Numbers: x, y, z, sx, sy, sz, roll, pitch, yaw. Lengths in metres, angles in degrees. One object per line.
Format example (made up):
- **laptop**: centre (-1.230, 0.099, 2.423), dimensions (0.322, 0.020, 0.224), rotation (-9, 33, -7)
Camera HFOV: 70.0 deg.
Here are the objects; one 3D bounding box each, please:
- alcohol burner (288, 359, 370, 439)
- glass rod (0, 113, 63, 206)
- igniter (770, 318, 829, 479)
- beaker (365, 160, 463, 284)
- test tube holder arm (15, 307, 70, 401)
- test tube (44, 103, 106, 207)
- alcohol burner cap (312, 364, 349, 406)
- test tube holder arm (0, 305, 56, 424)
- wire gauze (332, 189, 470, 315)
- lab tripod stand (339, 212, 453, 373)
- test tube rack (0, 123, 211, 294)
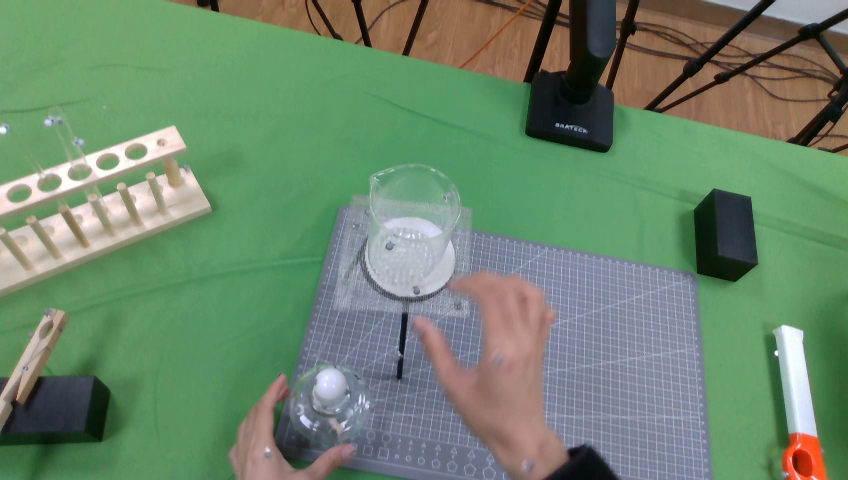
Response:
- **alcohol burner**: centre (-0.088, 0.144, 0.568), dimensions (0.078, 0.120, 0.077), rotation (5, 59, -8)
- **glass rod**: centre (-0.385, -0.077, 0.590), dimensions (0.008, 0.201, 0.008), rotation (2, 54, -2)
- **igniter**: centre (0.408, 0.215, 0.655), dimensions (0.057, 0.025, 0.274), rotation (17, 60, -11)
- **beaker**: centre (-0.016, -0.012, 0.523), dimensions (0.083, 0.101, 0.074), rotation (34, 62, 10)
- **test tube holder arm**: centre (-0.352, 0.103, 0.554), dimensions (0.010, 0.015, 0.087), rotation (14, 59, 0)
- **test tube**: centre (-0.351, -0.079, 0.616), dimensions (0.017, 0.151, 0.017), rotation (5, 55, -7)
- **alcohol burner cap**: centre (-0.084, 0.127, 0.536), dimensions (0.034, 0.048, 0.033), rotation (2, 66, -5)
- **test tube holder arm**: centre (-0.366, 0.139, 0.531), dimensions (0.013, 0.015, 0.177), rotation (13, 59, -1)
- **wire gauze**: centre (-0.018, 0.011, 0.566), dimensions (0.121, 0.011, 0.124), rotation (6, 64, -4)
- **lab tripod stand**: centre (-0.023, 0.047, 0.620), dimensions (0.149, 0.132, 0.147), rotation (4, 61, -8)
- **test tube rack**: centre (-0.364, -0.034, 0.645), dimensions (0.242, 0.086, 0.066), rotation (-26, 67, -21)
